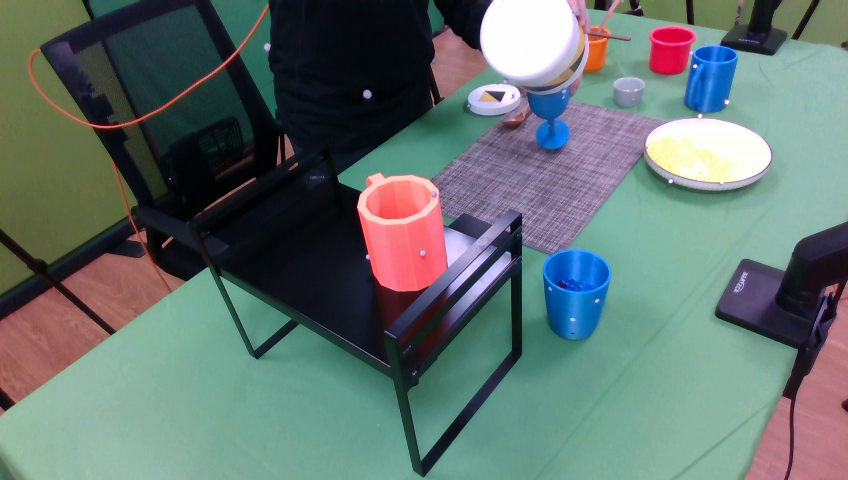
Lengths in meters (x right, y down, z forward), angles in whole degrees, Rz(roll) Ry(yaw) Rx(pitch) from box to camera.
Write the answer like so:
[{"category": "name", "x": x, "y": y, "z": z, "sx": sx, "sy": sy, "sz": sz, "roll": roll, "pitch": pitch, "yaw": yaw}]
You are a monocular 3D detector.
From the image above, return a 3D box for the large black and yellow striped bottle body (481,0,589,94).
[{"category": "large black and yellow striped bottle body", "x": 0.173, "y": -0.291, "z": 0.905, "sx": 0.130, "sy": 0.130, "sz": 0.185, "roll": 13, "pitch": 10, "yaw": 23}]

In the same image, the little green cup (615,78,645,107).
[{"category": "little green cup", "x": 0.426, "y": -0.306, "z": 1.257, "sx": 0.061, "sy": 0.039, "sz": 0.061, "roll": -4, "pitch": 40, "yaw": 4}]

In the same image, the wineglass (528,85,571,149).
[{"category": "wineglass", "x": 0.226, "y": -0.234, "z": 1.076, "sx": 0.073, "sy": 0.173, "sz": 0.073, "roll": -5, "pitch": 68, "yaw": 14}]

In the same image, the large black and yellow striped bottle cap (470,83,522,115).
[{"category": "large black and yellow striped bottle cap", "x": 0.156, "y": -0.307, "z": 1.316, "sx": 0.115, "sy": 0.019, "sz": 0.114, "roll": -7, "pitch": 39, "yaw": 6}]

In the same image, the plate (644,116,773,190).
[{"category": "plate", "x": 0.495, "y": -0.149, "z": 1.063, "sx": 0.209, "sy": 0.038, "sz": 0.208, "roll": -5, "pitch": 40, "yaw": 4}]

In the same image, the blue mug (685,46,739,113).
[{"category": "blue mug", "x": 0.556, "y": -0.310, "z": 1.190, "sx": 0.117, "sy": 0.106, "sz": 0.081, "roll": -32, "pitch": 46, "yaw": -25}]

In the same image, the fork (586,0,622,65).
[{"category": "fork", "x": 0.409, "y": -0.484, "z": 1.381, "sx": 0.028, "sy": 0.019, "sz": 0.207, "roll": 37, "pitch": 101, "yaw": 45}]

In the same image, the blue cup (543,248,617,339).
[{"category": "blue cup", "x": 0.199, "y": 0.076, "z": 0.797, "sx": 0.092, "sy": 0.100, "sz": 0.092, "roll": -4, "pitch": 39, "yaw": 4}]

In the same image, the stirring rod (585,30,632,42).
[{"category": "stirring rod", "x": 0.381, "y": -0.463, "z": 1.356, "sx": 0.175, "sy": 0.006, "sz": 0.014, "roll": 22, "pitch": 47, "yaw": 30}]

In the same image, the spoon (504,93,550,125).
[{"category": "spoon", "x": 0.227, "y": -0.285, "z": 1.269, "sx": 0.041, "sy": 0.022, "sz": 0.194, "roll": 1, "pitch": 36, "yaw": 45}]

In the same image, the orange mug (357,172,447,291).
[{"category": "orange mug", "x": -0.030, "y": -0.018, "z": 0.669, "sx": 0.084, "sy": 0.101, "sz": 0.125, "roll": -23, "pitch": 47, "yaw": -16}]
